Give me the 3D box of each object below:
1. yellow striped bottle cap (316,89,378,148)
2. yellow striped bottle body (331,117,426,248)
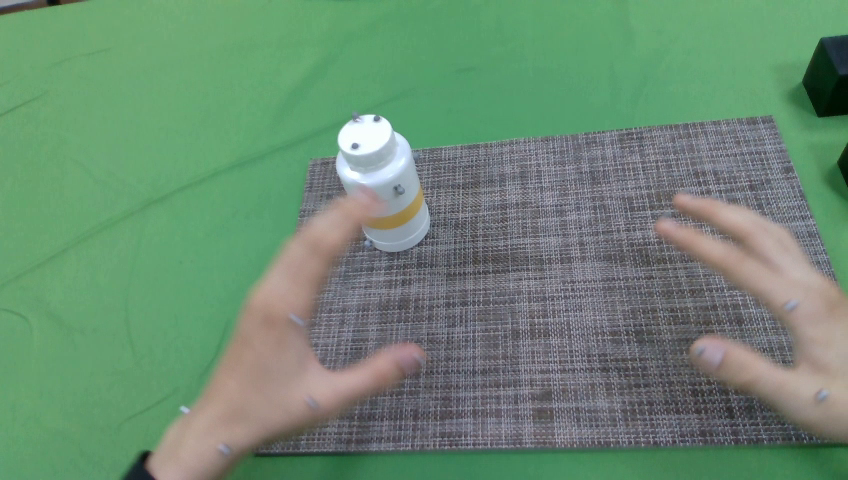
[{"bbox_3d":[-0.057,-0.091,0.452,0.044,0.019,0.044,-6,62,12],"label":"yellow striped bottle cap"},{"bbox_3d":[-0.039,-0.050,0.512,0.063,0.121,0.062,-5,55,8],"label":"yellow striped bottle body"}]
